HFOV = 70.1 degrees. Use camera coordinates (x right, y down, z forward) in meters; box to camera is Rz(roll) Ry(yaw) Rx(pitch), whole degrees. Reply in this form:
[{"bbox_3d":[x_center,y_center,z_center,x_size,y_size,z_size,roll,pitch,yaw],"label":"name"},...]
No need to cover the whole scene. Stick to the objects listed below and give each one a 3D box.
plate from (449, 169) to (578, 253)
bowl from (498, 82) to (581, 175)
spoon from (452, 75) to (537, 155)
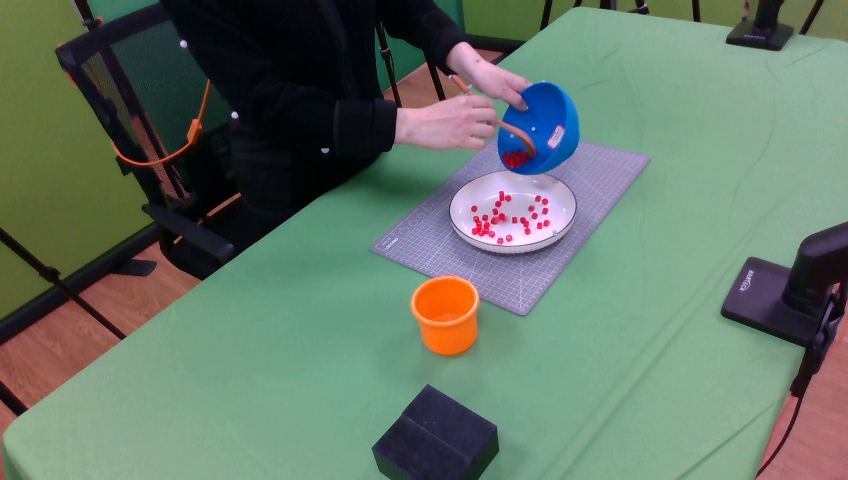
[{"bbox_3d":[0.146,-0.044,0.993,0.209,0.038,0.208,-5,40,5],"label":"plate"},{"bbox_3d":[0.199,-0.171,0.977,0.077,0.151,0.150,12,27,-36],"label":"bowl"},{"bbox_3d":[0.111,-0.189,0.924,0.021,0.195,0.041,-53,30,12],"label":"spoon"}]
